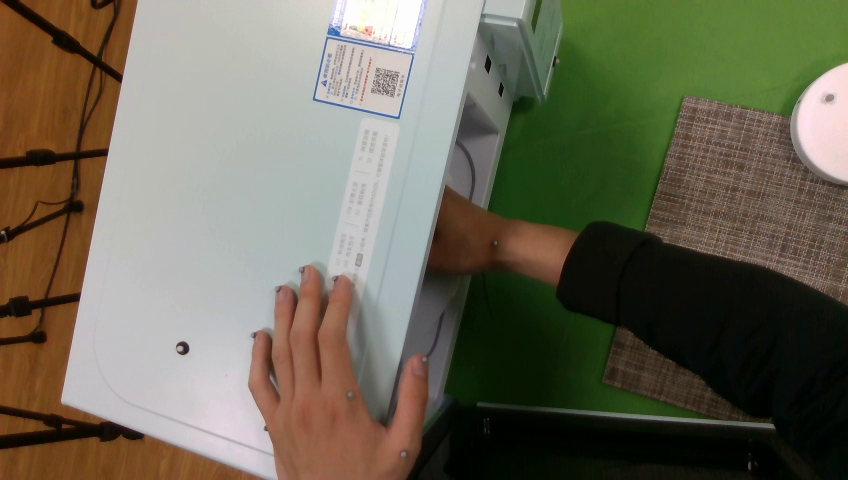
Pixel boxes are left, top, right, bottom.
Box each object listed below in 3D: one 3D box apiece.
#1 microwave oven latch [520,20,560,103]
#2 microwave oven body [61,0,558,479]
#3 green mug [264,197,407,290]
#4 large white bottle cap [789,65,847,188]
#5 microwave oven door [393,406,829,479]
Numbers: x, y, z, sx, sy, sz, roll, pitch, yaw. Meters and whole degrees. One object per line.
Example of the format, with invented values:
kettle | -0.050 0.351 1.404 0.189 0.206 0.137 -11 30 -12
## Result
microwave oven latch | 0.115 -0.181 0.608 0.030 0.029 0.079 14 94 14
microwave oven body | -0.089 -0.044 0.561 0.325 0.261 0.442 14 94 13
green mug | -0.079 0.004 0.583 0.125 0.105 0.092 2 93 11
large white bottle cap | 0.403 -0.105 0.559 0.114 0.018 0.114 0 90 14
microwave oven door | 0.164 0.195 0.494 0.355 0.244 0.039 0 89 14
